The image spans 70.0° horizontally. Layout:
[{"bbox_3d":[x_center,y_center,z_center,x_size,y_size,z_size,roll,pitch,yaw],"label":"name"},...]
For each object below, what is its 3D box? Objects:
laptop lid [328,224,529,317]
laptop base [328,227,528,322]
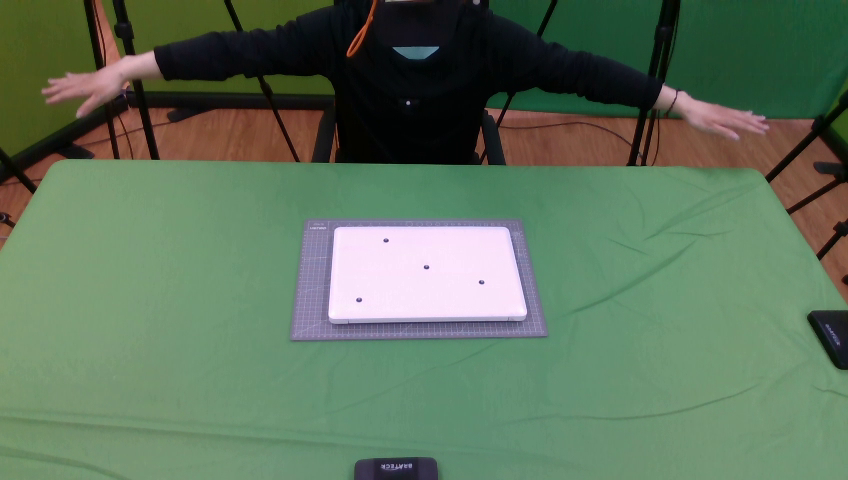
[{"bbox_3d":[0.005,0.051,1.130,0.357,0.013,0.240,1,44,-3],"label":"laptop lid"},{"bbox_3d":[0.005,0.060,1.136,0.355,0.023,0.234,0,43,-4],"label":"laptop base"}]
